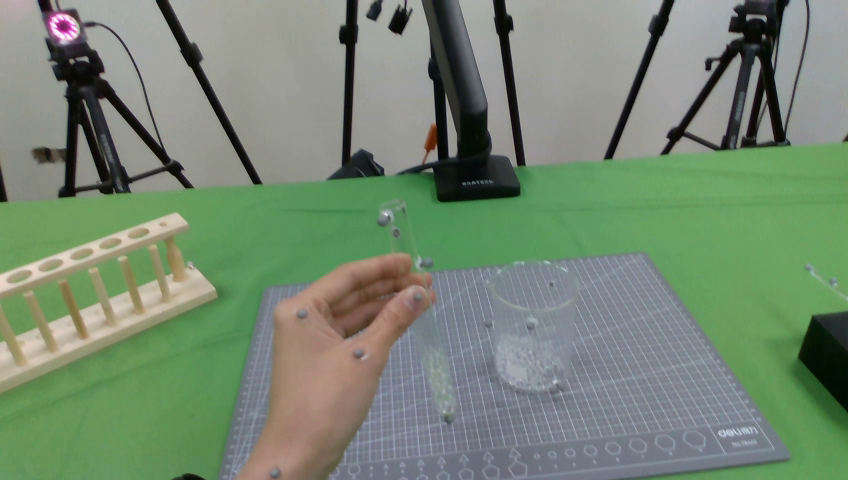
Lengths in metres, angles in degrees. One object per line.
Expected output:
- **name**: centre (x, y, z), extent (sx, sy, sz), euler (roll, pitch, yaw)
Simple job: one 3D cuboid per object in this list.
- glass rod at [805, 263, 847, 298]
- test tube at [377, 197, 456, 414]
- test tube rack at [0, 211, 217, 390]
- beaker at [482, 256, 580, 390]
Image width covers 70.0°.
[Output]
- **glass rod**: centre (0.400, 0.074, 0.512), extent (0.008, 0.008, 0.197), euler (-10, 33, -10)
- **test tube**: centre (-0.002, 0.044, 0.362), extent (0.017, 0.151, 0.017), euler (-12, 25, 6)
- **test tube rack**: centre (-0.351, 0.059, 0.624), extent (0.243, 0.086, 0.066), euler (-25, 39, -31)
- **beaker**: centre (0.093, 0.076, 0.540), extent (0.083, 0.101, 0.073), euler (7, 33, 17)
